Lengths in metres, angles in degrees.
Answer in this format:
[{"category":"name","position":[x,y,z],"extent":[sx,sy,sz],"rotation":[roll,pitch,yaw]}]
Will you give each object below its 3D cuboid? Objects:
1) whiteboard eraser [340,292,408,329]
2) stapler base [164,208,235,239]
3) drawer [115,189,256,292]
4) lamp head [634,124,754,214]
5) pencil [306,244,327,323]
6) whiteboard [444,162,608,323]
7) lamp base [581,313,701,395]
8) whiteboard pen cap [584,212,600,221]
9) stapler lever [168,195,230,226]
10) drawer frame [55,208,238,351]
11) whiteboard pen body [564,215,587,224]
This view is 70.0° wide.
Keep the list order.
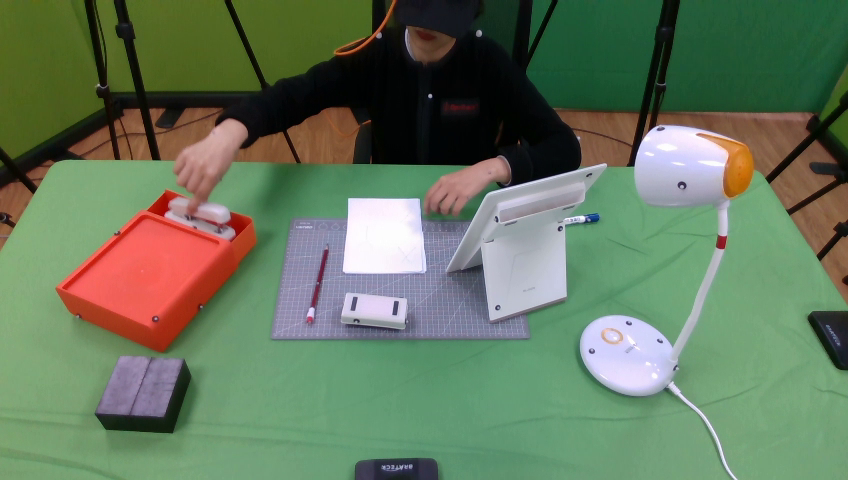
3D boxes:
[{"category":"whiteboard eraser","position":[-0.087,0.125,1.052],"extent":[0.113,0.042,0.055],"rotation":[5,45,1]},{"category":"stapler base","position":[-0.412,-0.039,1.116],"extent":[0.130,0.024,0.041],"rotation":[21,32,10]},{"category":"drawer","position":[-0.449,0.018,1.105],"extent":[0.194,0.073,0.211],"rotation":[19,48,12]},{"category":"lamp head","position":[0.351,-0.089,0.775],"extent":[0.112,0.113,0.122],"rotation":[-30,30,-28]},{"category":"pencil","position":[-0.196,0.075,1.115],"extent":[0.012,0.012,0.193],"rotation":[4,44,0]},{"category":"whiteboard","position":[0.186,0.025,1.028],"extent":[0.217,0.306,0.143],"rotation":[-14,68,-18]},{"category":"lamp base","position":[0.361,0.144,0.972],"extent":[0.178,0.181,0.160],"rotation":[34,53,23]},{"category":"whiteboard pen cap","position":[0.351,-0.049,1.271],"extent":[0.033,0.018,0.018],"rotation":[-7,47,-11]},{"category":"stapler lever","position":[-0.408,-0.060,1.102],"extent":[0.118,0.040,0.027],"rotation":[21,32,10]},{"category":"drawer frame","position":[-0.474,0.062,1.059],"extent":[0.201,0.083,0.213],"rotation":[19,48,13]},{"category":"whiteboard pen body","position":[0.291,-0.040,1.261],"extent":[0.141,0.017,0.017],"rotation":[-6,47,-11]}]
